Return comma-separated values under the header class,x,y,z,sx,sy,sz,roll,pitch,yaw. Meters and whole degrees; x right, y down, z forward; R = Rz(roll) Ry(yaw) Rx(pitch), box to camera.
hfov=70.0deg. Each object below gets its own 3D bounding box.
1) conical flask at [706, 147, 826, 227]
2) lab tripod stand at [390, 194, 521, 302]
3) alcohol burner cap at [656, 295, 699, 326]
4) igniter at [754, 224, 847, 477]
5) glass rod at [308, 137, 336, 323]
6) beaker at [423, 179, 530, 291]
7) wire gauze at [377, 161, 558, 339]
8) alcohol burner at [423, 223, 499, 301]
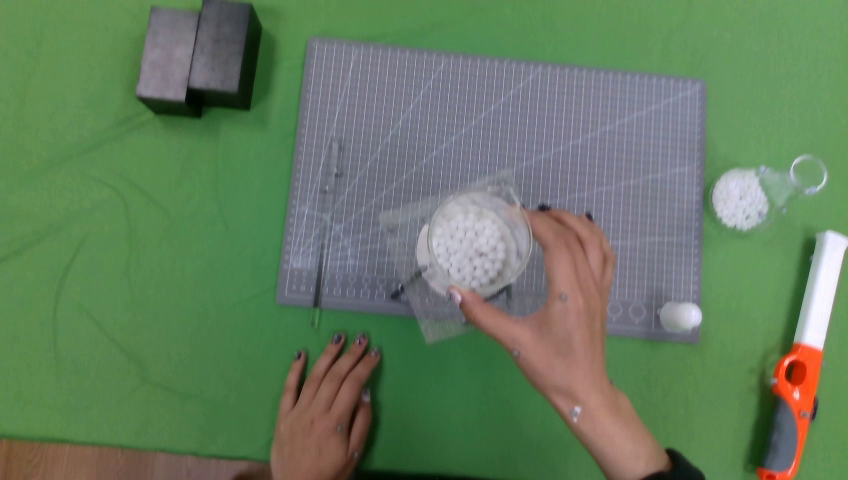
class,x,y,z,sx,sy,sz,roll,pitch,yaw
conical flask,0.349,-0.059,0.614,0.075,0.122,0.075,0,82,-2
lab tripod stand,0.033,0.017,0.580,0.148,0.131,0.148,0,84,-2
alcohol burner cap,0.267,0.073,0.630,0.034,0.048,0.034,0,83,-2
igniter,0.400,0.117,0.642,0.057,0.025,0.276,20,82,-10
glass rod,-0.107,-0.012,0.639,0.008,0.008,0.199,6,85,-2
beaker,0.037,-0.002,0.466,0.074,0.100,0.084,28,84,1
wire gauze,0.037,0.008,0.514,0.125,0.011,0.121,-20,87,-4
alcohol burner,0.036,0.019,0.590,0.078,0.119,0.077,0,81,-1
